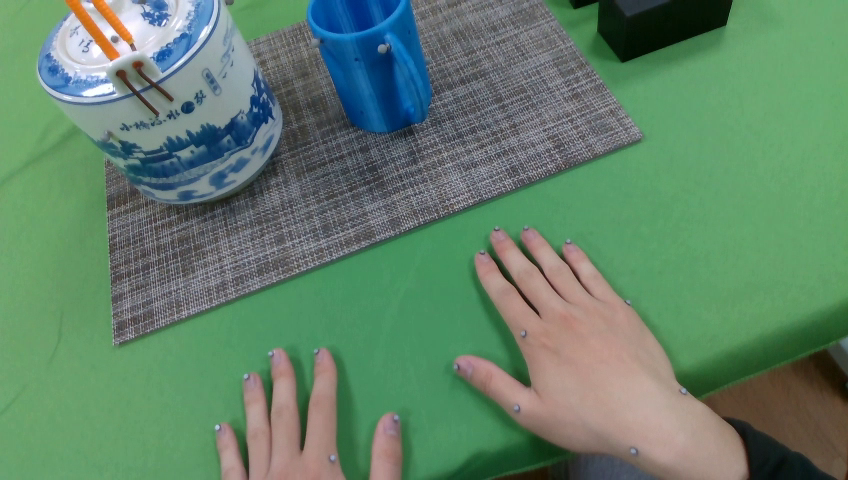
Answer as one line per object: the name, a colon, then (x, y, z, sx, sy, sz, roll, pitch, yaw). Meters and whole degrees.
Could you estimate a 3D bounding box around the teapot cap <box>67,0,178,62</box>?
teapot cap: (-0.219, -0.162, 0.435, 0.085, 0.044, 0.084, -5, 56, 7)

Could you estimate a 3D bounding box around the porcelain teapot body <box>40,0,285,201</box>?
porcelain teapot body: (-0.223, -0.162, 0.483, 0.145, 0.227, 0.203, -28, 57, -5)

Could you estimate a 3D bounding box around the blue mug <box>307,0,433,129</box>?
blue mug: (-0.033, -0.150, 0.506, 0.082, 0.107, 0.115, -36, 59, -10)
